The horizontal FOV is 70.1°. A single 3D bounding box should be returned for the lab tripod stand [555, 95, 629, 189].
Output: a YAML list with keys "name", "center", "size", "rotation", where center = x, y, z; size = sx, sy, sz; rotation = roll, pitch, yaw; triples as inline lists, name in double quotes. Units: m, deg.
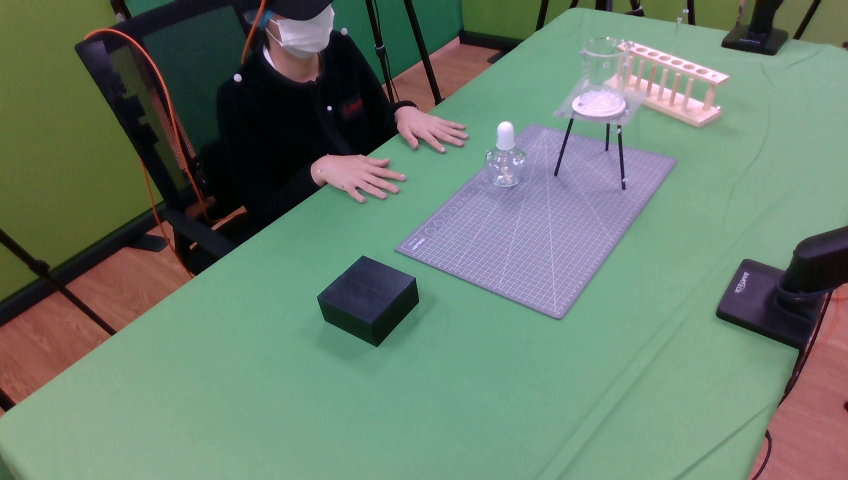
- name: "lab tripod stand"
  center: [0.300, -0.174, 1.045]
  size: [0.148, 0.132, 0.147]
  rotation: [-5, 38, 5]

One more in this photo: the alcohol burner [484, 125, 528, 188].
- name: "alcohol burner"
  center: [0.144, -0.152, 1.059]
  size: [0.078, 0.119, 0.077]
  rotation: [-3, 41, 3]

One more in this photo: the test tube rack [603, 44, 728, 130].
- name: "test tube rack"
  center: [0.480, -0.316, 1.227]
  size: [0.067, 0.085, 0.240]
  rotation: [-28, 44, -22]

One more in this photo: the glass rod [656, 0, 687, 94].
- name: "glass rod"
  center: [0.491, -0.381, 1.199]
  size: [0.008, 0.200, 0.008]
  rotation: [1, 41, 0]

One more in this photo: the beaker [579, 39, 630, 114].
- name: "beaker"
  center: [0.289, -0.263, 0.975]
  size: [0.073, 0.101, 0.084]
  rotation: [17, 45, 27]

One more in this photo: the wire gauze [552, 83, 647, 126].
- name: "wire gauze"
  center: [0.293, -0.224, 1.004]
  size: [0.120, 0.011, 0.125]
  rotation: [19, 43, 26]

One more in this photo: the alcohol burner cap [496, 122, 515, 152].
- name: "alcohol burner cap"
  center: [0.139, -0.179, 1.037]
  size: [0.034, 0.048, 0.033]
  rotation: [-4, 44, 4]
